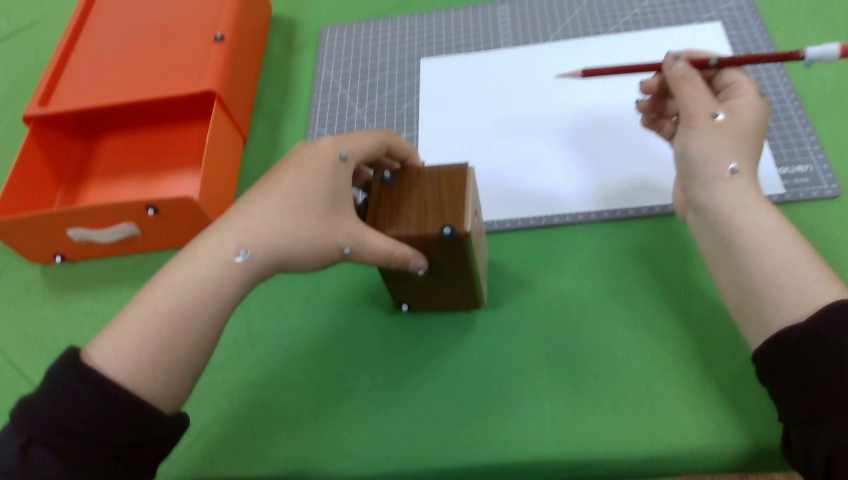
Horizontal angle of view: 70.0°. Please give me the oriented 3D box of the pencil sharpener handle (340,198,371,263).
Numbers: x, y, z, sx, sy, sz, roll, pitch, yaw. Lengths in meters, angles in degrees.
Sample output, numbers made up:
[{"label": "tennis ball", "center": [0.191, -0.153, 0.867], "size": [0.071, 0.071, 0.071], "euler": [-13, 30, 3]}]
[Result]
[{"label": "pencil sharpener handle", "center": [-0.051, -0.002, 0.435], "size": [0.030, 0.068, 0.035], "euler": [-3, 58, 11]}]

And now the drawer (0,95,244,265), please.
[{"label": "drawer", "center": [-0.278, -0.087, 0.580], "size": [0.194, 0.074, 0.209], "euler": [-7, 56, 7]}]

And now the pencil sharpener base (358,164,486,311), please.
[{"label": "pencil sharpener base", "center": [0.002, 0.003, 0.436], "size": [0.076, 0.108, 0.061], "euler": [-3, 56, 11]}]

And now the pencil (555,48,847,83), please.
[{"label": "pencil", "center": [0.192, -0.123, 0.434], "size": [0.193, 0.012, 0.012], "euler": [0, 57, 19]}]

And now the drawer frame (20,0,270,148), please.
[{"label": "drawer frame", "center": [-0.281, -0.186, 0.642], "size": [0.201, 0.083, 0.211], "euler": [-6, 56, 7]}]
